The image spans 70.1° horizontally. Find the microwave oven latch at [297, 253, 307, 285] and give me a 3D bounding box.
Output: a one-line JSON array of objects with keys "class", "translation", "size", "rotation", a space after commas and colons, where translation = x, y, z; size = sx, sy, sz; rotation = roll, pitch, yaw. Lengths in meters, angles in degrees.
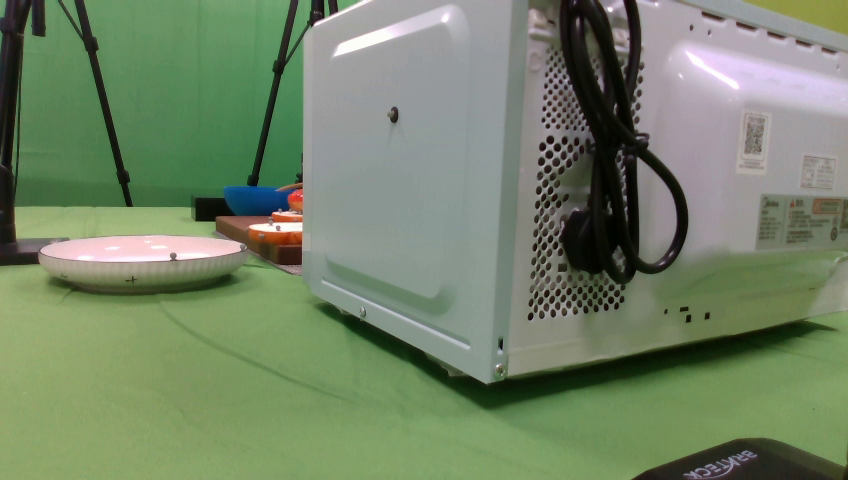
[{"class": "microwave oven latch", "translation": [-0.082, 0.027, 0.582], "size": [0.079, 0.029, 0.030], "rotation": [-1, 7, -32]}]

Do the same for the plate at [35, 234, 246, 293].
[{"class": "plate", "translation": [-0.305, 0.026, 0.668], "size": [0.208, 0.039, 0.207], "rotation": [3, 7, 0]}]

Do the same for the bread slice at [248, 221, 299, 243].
[{"class": "bread slice", "translation": [-0.174, -0.012, 0.844], "size": [0.135, 0.018, 0.106], "rotation": [-6, 11, -44]}]

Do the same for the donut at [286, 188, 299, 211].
[{"class": "donut", "translation": [-0.190, -0.068, 1.055], "size": [0.099, 0.048, 0.099], "rotation": [3, 7, 0]}]

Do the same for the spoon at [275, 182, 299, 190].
[{"class": "spoon", "translation": [-0.300, -0.103, 1.266], "size": [0.194, 0.021, 0.041], "rotation": [-23, 10, -24]}]

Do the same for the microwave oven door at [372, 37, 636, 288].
[{"class": "microwave oven door", "translation": [0.110, -0.080, 0.687], "size": [0.358, 0.243, 0.039], "rotation": [-2, 9, -33]}]

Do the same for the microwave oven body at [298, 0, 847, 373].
[{"class": "microwave oven body", "translation": [0.151, -0.055, 0.542], "size": [0.444, 0.260, 0.324], "rotation": [-2, 7, -33]}]

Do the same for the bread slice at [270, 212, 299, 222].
[{"class": "bread slice", "translation": [-0.197, -0.038, 1.051], "size": [0.132, 0.019, 0.104], "rotation": [0, 6, -31]}]

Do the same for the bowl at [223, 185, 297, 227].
[{"class": "bowl", "translation": [-0.330, -0.068, 1.230], "size": [0.151, 0.077, 0.151], "rotation": [3, 8, 0]}]
